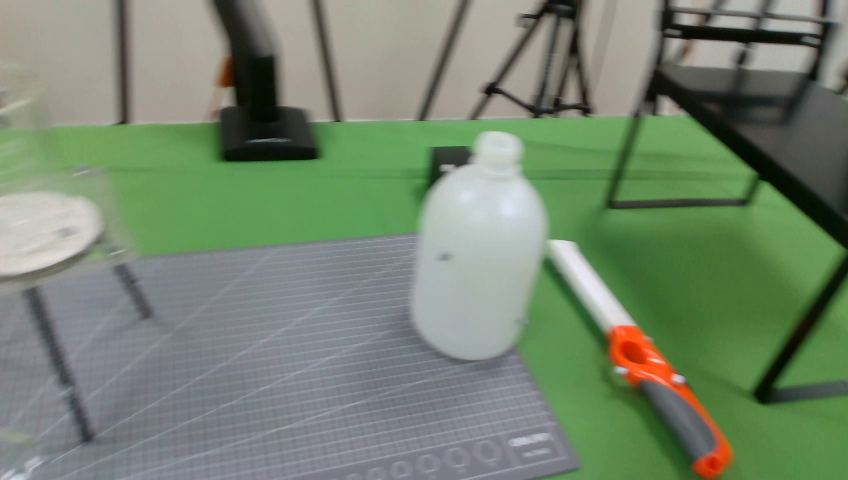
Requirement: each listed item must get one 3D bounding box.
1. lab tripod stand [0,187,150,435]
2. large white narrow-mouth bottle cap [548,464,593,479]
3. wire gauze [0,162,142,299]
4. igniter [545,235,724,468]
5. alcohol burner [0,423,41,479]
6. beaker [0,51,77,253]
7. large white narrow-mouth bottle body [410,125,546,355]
[{"bbox_3d":[-0.261,0.043,0.426,0.148,0.132,0.147,8,38,-6],"label":"lab tripod stand"},{"bbox_3d":[0.101,0.180,0.427,0.038,0.024,0.037,6,38,-4],"label":"large white narrow-mouth bottle cap"},{"bbox_3d":[-0.257,-0.009,0.386,0.122,0.011,0.123,-17,49,-27],"label":"wire gauze"},{"bbox_3d":[0.183,0.086,0.558,0.057,0.025,0.273,5,37,-24],"label":"igniter"},{"bbox_3d":[-0.262,0.126,0.336,0.078,0.120,0.077,7,36,-5],"label":"alcohol burner"},{"bbox_3d":[-0.256,-0.049,0.356,0.084,0.101,0.073,-10,44,-24],"label":"beaker"},{"bbox_3d":[0.046,-0.002,0.498,0.102,0.196,0.101,5,38,-4],"label":"large white narrow-mouth bottle body"}]
